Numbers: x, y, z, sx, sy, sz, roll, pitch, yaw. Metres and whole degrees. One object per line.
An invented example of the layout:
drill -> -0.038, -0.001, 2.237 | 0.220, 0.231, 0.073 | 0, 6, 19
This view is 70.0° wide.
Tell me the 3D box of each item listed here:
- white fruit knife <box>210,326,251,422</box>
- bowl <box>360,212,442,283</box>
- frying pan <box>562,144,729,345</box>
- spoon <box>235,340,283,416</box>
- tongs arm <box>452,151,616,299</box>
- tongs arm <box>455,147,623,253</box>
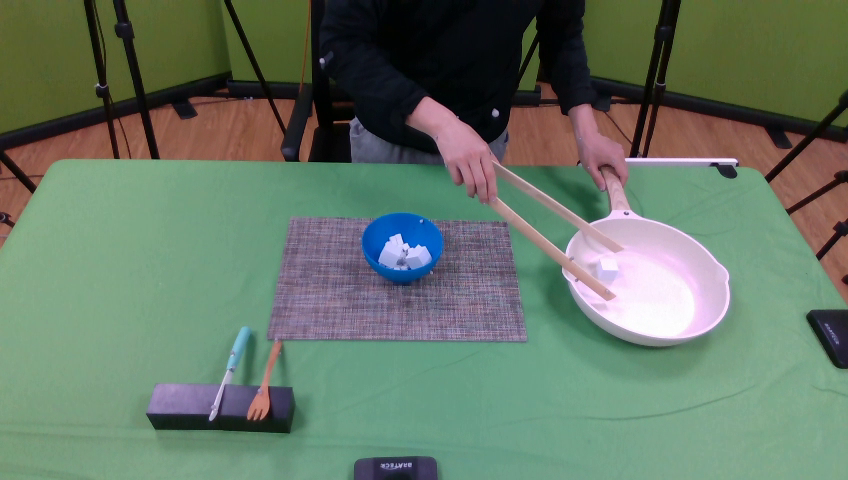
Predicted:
white fruit knife -> -0.300, 0.201, 0.941 | 0.016, 0.027, 0.206 | -2, 32, 1
bowl -> -0.044, 0.026, 1.125 | 0.151, 0.077, 0.150 | 2, 46, -2
frying pan -> 0.397, -0.008, 1.179 | 0.307, 0.103, 0.485 | 1, 55, -4
spoon -> -0.245, 0.207, 0.932 | 0.042, 0.021, 0.193 | 30, 24, -9
tongs arm -> 0.200, -0.021, 1.076 | 0.386, 0.026, 0.050 | 36, 53, -14
tongs arm -> 0.220, -0.069, 1.116 | 0.389, 0.028, 0.028 | 30, 58, -20
